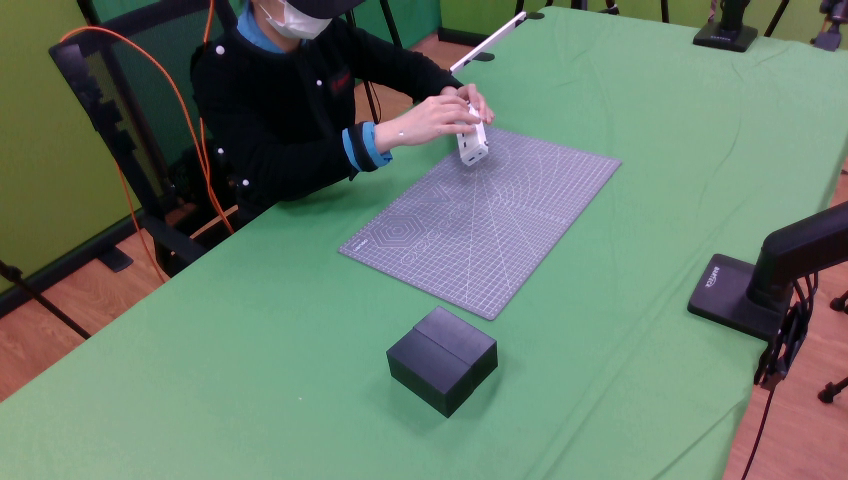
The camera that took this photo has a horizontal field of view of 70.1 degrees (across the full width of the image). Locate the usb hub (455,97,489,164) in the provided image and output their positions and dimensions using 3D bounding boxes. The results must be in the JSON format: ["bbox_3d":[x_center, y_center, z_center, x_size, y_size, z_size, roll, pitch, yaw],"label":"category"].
[{"bbox_3d":[0.085,-0.199,1.094,0.049,0.025,0.124,-32,50,31],"label":"usb hub"}]

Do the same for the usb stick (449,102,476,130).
[{"bbox_3d":[0.072,-0.214,1.062,0.027,0.060,0.021,-33,42,30],"label":"usb stick"}]
